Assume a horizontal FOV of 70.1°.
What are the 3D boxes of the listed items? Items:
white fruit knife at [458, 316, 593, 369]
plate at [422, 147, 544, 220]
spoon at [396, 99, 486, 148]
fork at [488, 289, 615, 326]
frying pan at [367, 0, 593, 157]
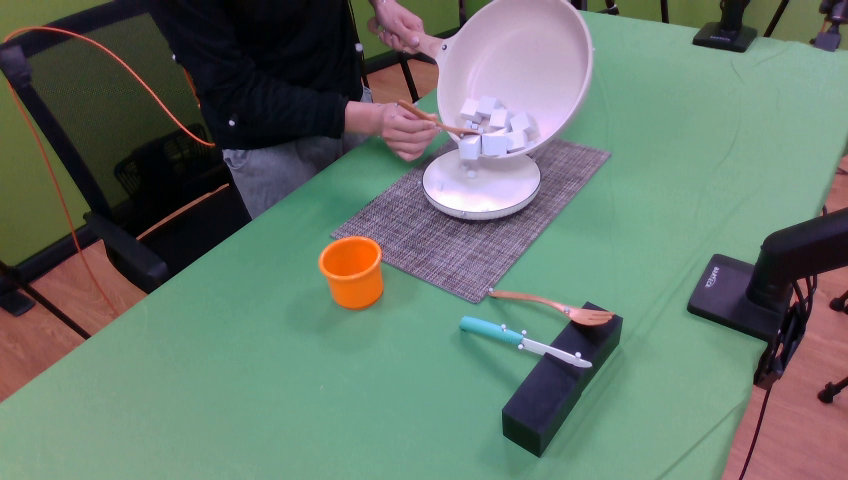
[{"bbox_3d":[0.120,0.127,0.757,0.205,0.027,0.016,12,44,43],"label":"white fruit knife"},{"bbox_3d":[0.102,-0.097,1.048,0.207,0.039,0.206,-4,40,4],"label":"plate"},{"bbox_3d":[0.031,-0.191,0.997,0.041,0.195,0.021,-9,72,47],"label":"spoon"},{"bbox_3d":[0.161,0.085,0.800,0.205,0.019,0.028,11,48,48],"label":"fork"},{"bbox_3d":[0.080,-0.328,1.099,0.484,0.306,0.103,31,9,25],"label":"frying pan"}]
